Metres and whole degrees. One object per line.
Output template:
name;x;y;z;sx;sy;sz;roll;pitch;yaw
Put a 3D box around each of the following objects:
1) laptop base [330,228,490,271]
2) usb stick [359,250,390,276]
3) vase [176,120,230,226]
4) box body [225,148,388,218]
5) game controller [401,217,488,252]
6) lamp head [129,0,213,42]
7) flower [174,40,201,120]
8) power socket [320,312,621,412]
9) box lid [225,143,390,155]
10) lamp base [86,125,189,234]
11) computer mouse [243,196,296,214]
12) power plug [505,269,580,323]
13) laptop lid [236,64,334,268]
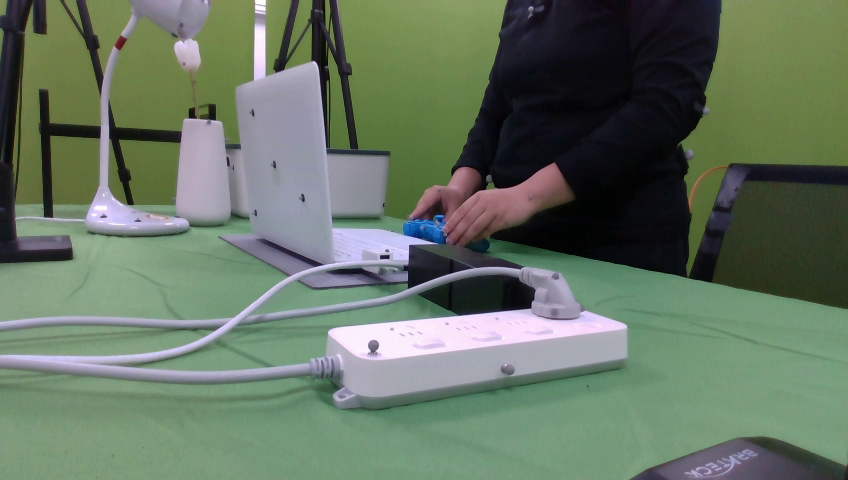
laptop base;-0.095;0.011;0.912;0.237;0.023;0.352;2;6;-32
usb stick;-0.061;0.026;0.708;0.021;0.027;0.059;-3;4;-30
vase;-0.424;-0.128;1.159;0.098;0.200;0.098;2;9;0
box body;-0.298;-0.143;1.474;0.366;0.160;0.253;-1;9;-30
game controller;0.029;-0.011;1.027;0.097;0.051;0.154;-3;8;-33
lamp head;-0.423;-0.394;0.980;0.123;0.112;0.112;20;7;-3
flower;-0.430;-0.211;1.166;0.044;0.361;0.038;-10;-5;-23
power socket;0.038;0.075;0.410;0.228;0.032;0.072;-2;8;-29
box lid;-0.296;-0.217;1.463;0.373;0.015;0.262;-2;8;-29
lamp base;-0.497;-0.105;1.027;0.179;0.180;0.160;1;7;3
computer mouse;-0.362;-0.082;1.416;0.117;0.041;0.063;-3;10;5
power plug;0.092;0.051;0.470;0.035;0.052;0.072;0;6;-16
laptop lid;-0.202;-0.103;0.828;0.013;0.241;0.355;-9;14;-30
